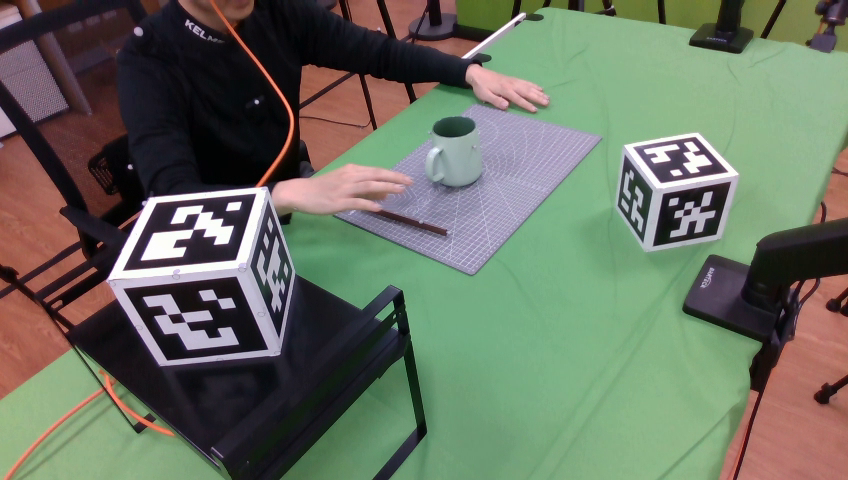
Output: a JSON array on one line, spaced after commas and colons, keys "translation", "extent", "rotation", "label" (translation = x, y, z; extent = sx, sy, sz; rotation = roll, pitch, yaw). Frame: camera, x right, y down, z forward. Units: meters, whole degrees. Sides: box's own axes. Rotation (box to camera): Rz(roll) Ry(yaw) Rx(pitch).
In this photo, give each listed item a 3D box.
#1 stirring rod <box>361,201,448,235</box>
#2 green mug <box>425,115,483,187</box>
[{"translation": [-0.036, -0.038, 1.019], "extent": [0.175, 0.014, 0.006], "rotation": [19, 53, 27], "label": "stirring rod"}, {"translation": [0.046, -0.148, 1.068], "extent": [0.092, 0.105, 0.125], "rotation": [24, 50, 31], "label": "green mug"}]
